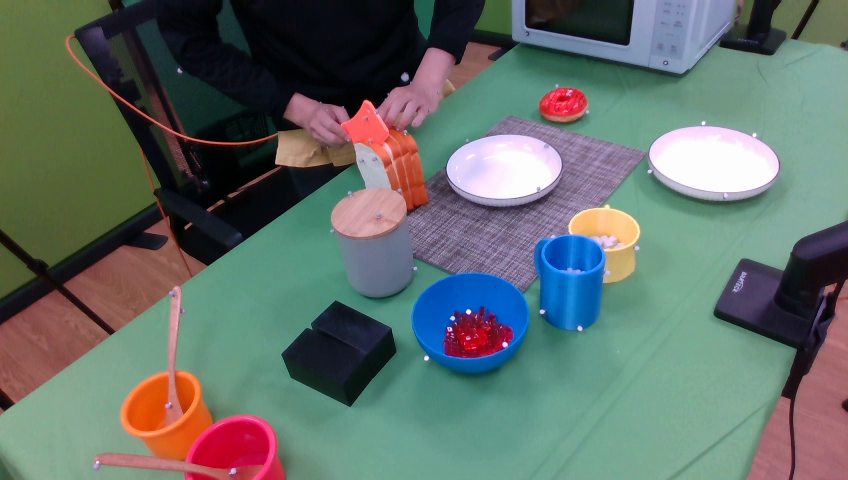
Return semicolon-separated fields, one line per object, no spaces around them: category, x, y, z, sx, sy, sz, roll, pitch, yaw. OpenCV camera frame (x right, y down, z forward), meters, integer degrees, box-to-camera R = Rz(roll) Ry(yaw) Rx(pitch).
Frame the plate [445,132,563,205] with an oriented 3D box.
plate;0.142;-0.124;1.076;0.209;0.038;0.208;-4;41;4

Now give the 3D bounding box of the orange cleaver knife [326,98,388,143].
orange cleaver knife;-0.118;-0.187;1.036;0.012;0.077;0.210;-31;12;-27

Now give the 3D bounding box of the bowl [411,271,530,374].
bowl;0.061;0.120;0.780;0.151;0.077;0.150;-4;40;4

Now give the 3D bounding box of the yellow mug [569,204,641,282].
yellow mug;0.268;-0.005;0.904;0.099;0.064;0.130;7;41;15

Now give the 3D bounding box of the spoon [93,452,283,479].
spoon;-0.240;0.239;0.632;0.195;0.021;0.041;26;33;-32

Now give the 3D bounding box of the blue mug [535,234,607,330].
blue mug;0.191;0.048;0.824;0.082;0.106;0.115;-26;44;-20

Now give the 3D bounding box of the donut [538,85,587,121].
donut;0.283;-0.280;1.239;0.099;0.048;0.098;-5;42;5

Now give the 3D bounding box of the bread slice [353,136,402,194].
bread slice;-0.080;-0.115;1.028;0.019;0.132;0.104;-35;43;-23

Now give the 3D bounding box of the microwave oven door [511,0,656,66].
microwave oven door;0.351;-0.539;1.349;0.353;0.245;0.039;24;50;31

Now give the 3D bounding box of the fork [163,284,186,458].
fork;-0.302;0.157;0.733;0.028;0.019;0.207;-4;84;16

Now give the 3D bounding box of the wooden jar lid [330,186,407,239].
wooden jar lid;-0.077;-0.035;0.846;0.108;0.021;0.108;-6;41;5

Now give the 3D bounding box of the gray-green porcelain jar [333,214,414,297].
gray-green porcelain jar;-0.071;0.012;0.887;0.106;0.127;0.105;-4;41;4

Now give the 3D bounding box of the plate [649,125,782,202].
plate;0.493;-0.127;1.036;0.207;0.039;0.206;-4;41;4

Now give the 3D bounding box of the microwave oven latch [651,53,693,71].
microwave oven latch;0.532;-0.386;1.301;0.078;0.029;0.030;27;52;34

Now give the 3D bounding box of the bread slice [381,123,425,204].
bread slice;-0.039;-0.135;1.049;0.018;0.135;0.106;-28;45;-28

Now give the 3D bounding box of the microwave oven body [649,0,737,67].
microwave oven body;0.475;-0.602;1.411;0.438;0.261;0.327;23;50;32
